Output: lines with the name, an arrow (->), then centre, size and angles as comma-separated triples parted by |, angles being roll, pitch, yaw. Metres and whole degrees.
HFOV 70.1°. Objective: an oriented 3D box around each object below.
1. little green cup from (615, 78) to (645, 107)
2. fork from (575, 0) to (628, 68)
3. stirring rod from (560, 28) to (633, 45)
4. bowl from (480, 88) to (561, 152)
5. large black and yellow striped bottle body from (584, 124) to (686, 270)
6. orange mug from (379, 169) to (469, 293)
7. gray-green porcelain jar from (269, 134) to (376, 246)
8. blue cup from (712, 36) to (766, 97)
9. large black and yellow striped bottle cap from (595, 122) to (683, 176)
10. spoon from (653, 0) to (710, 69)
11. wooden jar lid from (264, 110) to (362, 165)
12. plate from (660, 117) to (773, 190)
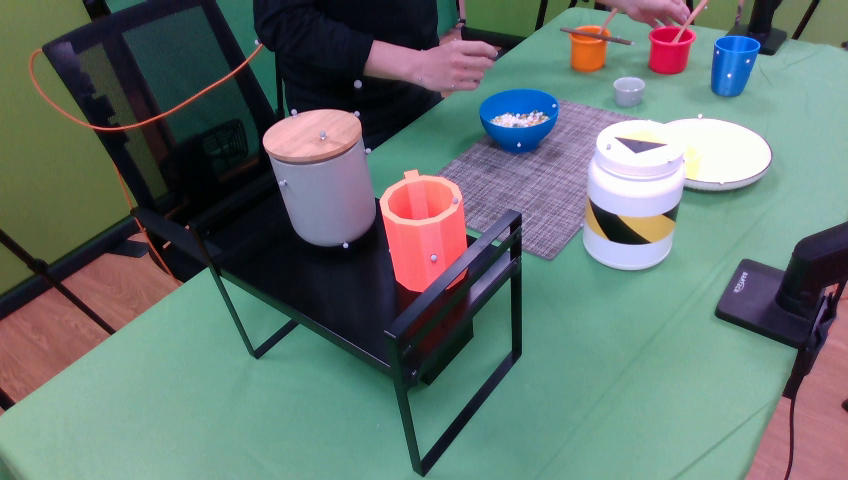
little green cup -> 0.426, -0.306, 1.257 | 0.061, 0.039, 0.061 | -4, 40, 4
fork -> 0.413, -0.481, 1.378 | 0.207, 0.019, 0.028 | -57, 43, 12
stirring rod -> 0.381, -0.453, 1.345 | 0.174, 0.006, 0.014 | 26, 49, 33
bowl -> 0.185, -0.222, 1.160 | 0.151, 0.077, 0.150 | -4, 40, 4
large black and yellow striped bottle body -> 0.304, -0.063, 0.880 | 0.131, 0.185, 0.130 | -5, 41, 5
orange mug -> -0.002, -0.019, 0.665 | 0.083, 0.101, 0.125 | -12, 45, -4
gray-green porcelain jar -> -0.115, -0.064, 0.715 | 0.106, 0.127, 0.105 | -4, 40, 4
blue cup -> 0.627, -0.350, 1.227 | 0.092, 0.100, 0.092 | -4, 39, 4
large black and yellow striped bottle cap -> 0.293, -0.126, 0.826 | 0.115, 0.019, 0.114 | -3, 40, 3
spoon -> 0.573, -0.459, 1.332 | 0.041, 0.022, 0.193 | 43, 105, 40
wooden jar lid -> -0.122, -0.112, 0.673 | 0.108, 0.021, 0.108 | -4, 37, 4
plate -> 0.495, -0.148, 1.063 | 0.209, 0.038, 0.208 | -5, 40, 4
